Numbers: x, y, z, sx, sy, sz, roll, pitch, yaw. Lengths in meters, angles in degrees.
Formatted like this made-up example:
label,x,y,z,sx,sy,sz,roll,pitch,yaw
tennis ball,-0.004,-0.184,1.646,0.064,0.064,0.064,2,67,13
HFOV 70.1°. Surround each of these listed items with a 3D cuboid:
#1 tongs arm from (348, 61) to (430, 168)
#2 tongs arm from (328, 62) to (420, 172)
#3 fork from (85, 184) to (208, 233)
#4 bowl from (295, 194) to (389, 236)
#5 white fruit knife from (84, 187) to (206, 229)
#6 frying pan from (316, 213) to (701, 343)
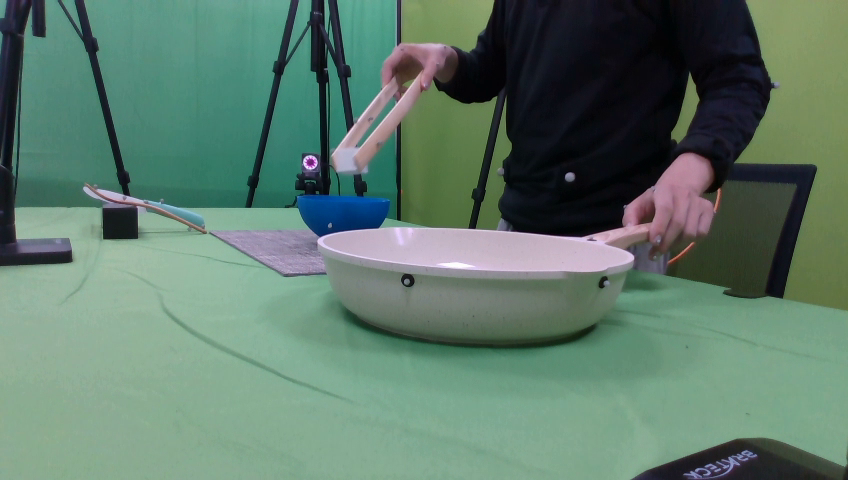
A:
label,x,y,z,sx,sy,sz,roll,pitch,yaw
tongs arm,-0.046,-0.212,0.961,0.028,0.028,0.387,-9,30,24
tongs arm,-0.068,-0.210,0.970,0.050,0.026,0.384,-8,31,18
fork,-0.462,-0.051,1.019,0.208,0.018,0.028,22,-11,-37
bowl,-0.132,-0.032,0.981,0.151,0.077,0.151,2,7,0
white fruit knife,-0.488,-0.059,1.071,0.208,0.027,0.016,17,4,-33
frying pan,0.133,0.013,0.629,0.490,0.102,0.305,-11,14,-30
